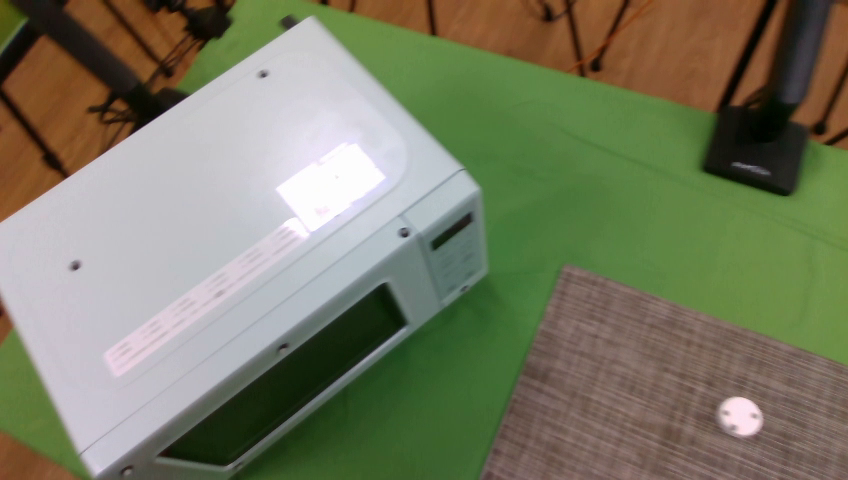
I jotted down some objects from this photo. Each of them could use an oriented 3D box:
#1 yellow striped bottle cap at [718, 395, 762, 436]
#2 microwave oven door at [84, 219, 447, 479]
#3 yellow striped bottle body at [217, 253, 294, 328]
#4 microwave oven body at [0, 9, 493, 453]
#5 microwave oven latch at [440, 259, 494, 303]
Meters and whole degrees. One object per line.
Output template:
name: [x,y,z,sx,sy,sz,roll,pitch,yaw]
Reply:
yellow striped bottle cap: [0.364,0.202,0.698,0.044,0.019,0.044,-3,66,8]
microwave oven door: [-0.135,0.134,0.651,0.356,0.246,0.039,-37,67,-9]
yellow striped bottle body: [-0.198,0.057,0.707,0.063,0.121,0.062,-2,66,5]
microwave oven body: [-0.188,0.009,0.717,0.441,0.262,0.323,-37,68,-8]
microwave oven latch: [0.053,0.045,0.777,0.079,0.030,0.030,-35,68,-7]
